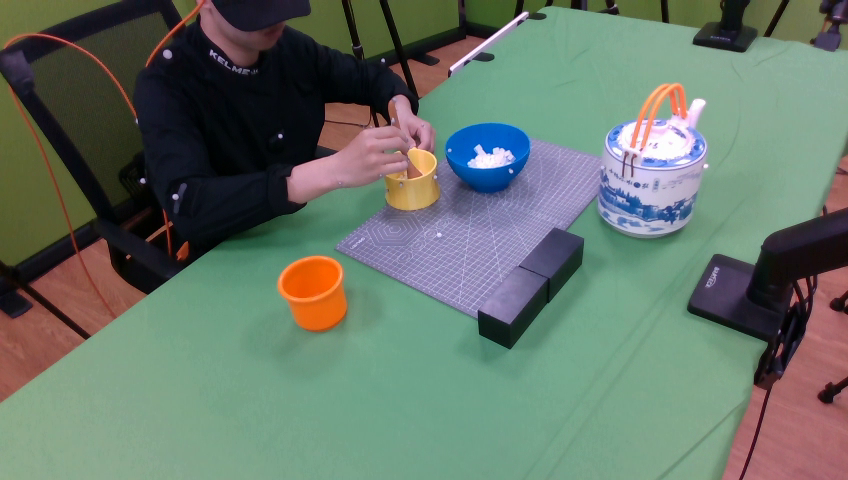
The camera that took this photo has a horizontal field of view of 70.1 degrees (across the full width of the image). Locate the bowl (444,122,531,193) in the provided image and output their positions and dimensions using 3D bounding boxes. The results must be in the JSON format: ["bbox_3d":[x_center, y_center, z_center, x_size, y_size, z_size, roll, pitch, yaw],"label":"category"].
[{"bbox_3d":[0.113,-0.136,1.063,0.151,0.077,0.150,-4,41,4],"label":"bowl"}]

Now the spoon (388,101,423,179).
[{"bbox_3d":[-0.031,-0.142,0.992,0.042,0.195,0.021,-37,42,-19],"label":"spoon"}]

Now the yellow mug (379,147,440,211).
[{"bbox_3d":[-0.023,-0.117,1.071,0.100,0.064,0.130,0,40,8],"label":"yellow mug"}]

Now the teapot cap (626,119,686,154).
[{"bbox_3d":[0.338,-0.153,0.882,0.085,0.044,0.085,-3,38,3],"label":"teapot cap"}]

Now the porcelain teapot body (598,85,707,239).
[{"bbox_3d":[0.363,-0.137,0.921,0.144,0.226,0.206,28,51,36],"label":"porcelain teapot body"}]
